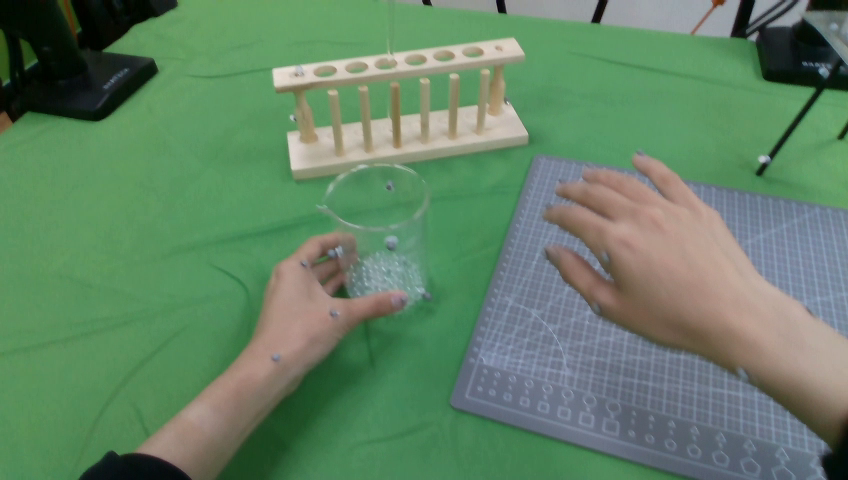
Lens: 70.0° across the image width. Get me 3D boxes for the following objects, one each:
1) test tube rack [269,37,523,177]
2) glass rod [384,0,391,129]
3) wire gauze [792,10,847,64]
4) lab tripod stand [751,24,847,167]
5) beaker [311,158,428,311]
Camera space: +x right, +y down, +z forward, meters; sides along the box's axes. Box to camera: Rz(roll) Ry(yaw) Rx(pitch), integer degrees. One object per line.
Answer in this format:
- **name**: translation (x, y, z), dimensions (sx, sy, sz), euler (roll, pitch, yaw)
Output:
- **test tube rack**: translation (-0.023, -0.134, 0.605), dimensions (0.243, 0.086, 0.066), euler (-10, 46, -9)
- **glass rod**: translation (-0.035, -0.182, 0.559), dimensions (0.008, 0.201, 0.008), euler (2, 49, -2)
- **wire gauze**: translation (0.386, -0.160, 0.493), dimensions (0.121, 0.011, 0.123), euler (-6, 46, -6)
- **lab tripod stand**: translation (0.392, -0.113, 0.541), dimensions (0.148, 0.132, 0.147), euler (1, 46, 0)
- **beaker**: translation (-0.038, 0.000, 0.464), dimensions (0.084, 0.101, 0.073), euler (-7, 45, -6)
